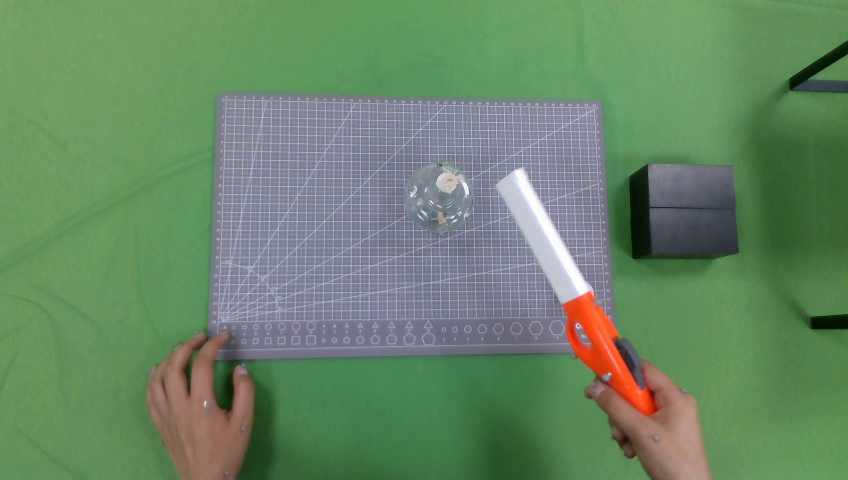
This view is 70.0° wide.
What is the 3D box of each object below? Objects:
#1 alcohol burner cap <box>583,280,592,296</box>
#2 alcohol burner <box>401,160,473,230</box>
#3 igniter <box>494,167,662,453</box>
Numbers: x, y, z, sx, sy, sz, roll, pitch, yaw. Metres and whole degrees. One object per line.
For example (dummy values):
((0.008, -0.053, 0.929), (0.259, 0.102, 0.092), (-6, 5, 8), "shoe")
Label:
((0.168, 0.059, 0.673), (0.034, 0.048, 0.033), (1, 80, -4), "alcohol burner cap")
((0.016, -0.051, 0.638), (0.078, 0.119, 0.077), (1, 81, -7), "alcohol burner")
((0.138, 0.061, 0.546), (0.025, 0.057, 0.275), (-21, 80, -39), "igniter")
